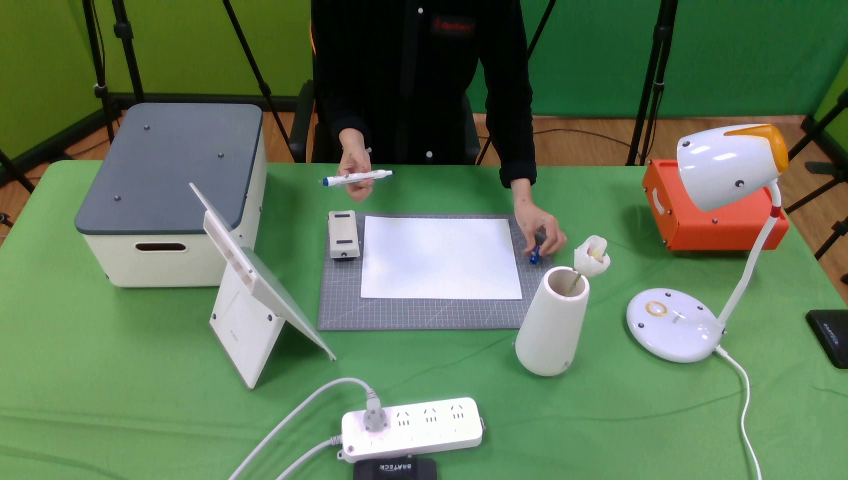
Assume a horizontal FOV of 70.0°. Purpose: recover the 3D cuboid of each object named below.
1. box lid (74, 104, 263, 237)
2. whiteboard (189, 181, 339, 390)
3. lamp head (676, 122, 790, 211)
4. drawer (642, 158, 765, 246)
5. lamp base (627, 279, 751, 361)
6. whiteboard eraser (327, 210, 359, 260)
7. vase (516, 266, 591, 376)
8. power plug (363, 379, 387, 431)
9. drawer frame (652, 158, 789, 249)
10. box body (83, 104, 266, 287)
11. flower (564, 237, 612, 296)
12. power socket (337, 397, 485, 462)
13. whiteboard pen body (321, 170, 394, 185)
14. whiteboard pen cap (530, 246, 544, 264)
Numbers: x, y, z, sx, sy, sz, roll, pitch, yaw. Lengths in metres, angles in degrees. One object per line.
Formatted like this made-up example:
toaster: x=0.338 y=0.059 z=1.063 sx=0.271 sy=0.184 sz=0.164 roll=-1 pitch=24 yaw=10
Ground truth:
box lid: x=-0.443 y=-0.139 z=1.095 sx=0.263 sy=0.015 sz=0.369 roll=-1 pitch=45 yaw=-5
whiteboard: x=-0.292 y=0.096 z=0.929 sx=0.144 sy=0.307 sz=0.216 roll=-37 pitch=57 yaw=-10
lamp head: x=0.423 y=-0.104 z=0.819 sx=0.122 sy=0.113 sz=0.112 roll=-13 pitch=33 yaw=40
drawer: x=0.566 y=-0.076 z=1.211 sx=0.212 sy=0.073 sz=0.193 roll=2 pitch=45 yaw=-2
lamp base: x=0.459 y=0.100 z=1.027 sx=0.178 sy=0.181 sz=0.160 roll=27 pitch=51 yaw=17
whiteboard eraser: x=-0.158 y=-0.009 z=1.177 sx=0.055 sy=0.042 sz=0.112 roll=-6 pitch=47 yaw=-7
vase: x=0.208 y=0.132 z=0.964 sx=0.098 sy=0.201 sz=0.097 roll=3 pitch=46 yaw=-3
power plug: x=-0.072 y=0.252 z=0.910 sx=0.035 sy=0.053 sz=0.072 roll=3 pitch=45 yaw=-1
drawer frame: x=0.571 y=-0.075 z=1.214 sx=0.214 sy=0.083 sz=0.200 roll=0 pitch=45 yaw=-1
box body: x=-0.447 y=-0.088 z=1.150 sx=0.254 sy=0.161 sz=0.361 roll=-1 pitch=46 yaw=-5
flower: x=0.206 y=0.088 z=0.893 sx=0.038 sy=0.363 sz=0.044 roll=-16 pitch=67 yaw=-9
power socket: x=-0.018 y=0.285 z=0.915 sx=0.227 sy=0.033 sz=0.071 roll=-5 pitch=46 yaw=-8
whiteboard pen body: x=-0.115 y=-0.114 z=1.084 sx=0.141 sy=0.017 sz=0.017 roll=-11 pitch=48 yaw=-28
whiteboard pen cap: x=0.219 y=0.029 z=1.171 sx=0.018 sy=0.018 sz=0.033 roll=21 pitch=68 yaw=15
